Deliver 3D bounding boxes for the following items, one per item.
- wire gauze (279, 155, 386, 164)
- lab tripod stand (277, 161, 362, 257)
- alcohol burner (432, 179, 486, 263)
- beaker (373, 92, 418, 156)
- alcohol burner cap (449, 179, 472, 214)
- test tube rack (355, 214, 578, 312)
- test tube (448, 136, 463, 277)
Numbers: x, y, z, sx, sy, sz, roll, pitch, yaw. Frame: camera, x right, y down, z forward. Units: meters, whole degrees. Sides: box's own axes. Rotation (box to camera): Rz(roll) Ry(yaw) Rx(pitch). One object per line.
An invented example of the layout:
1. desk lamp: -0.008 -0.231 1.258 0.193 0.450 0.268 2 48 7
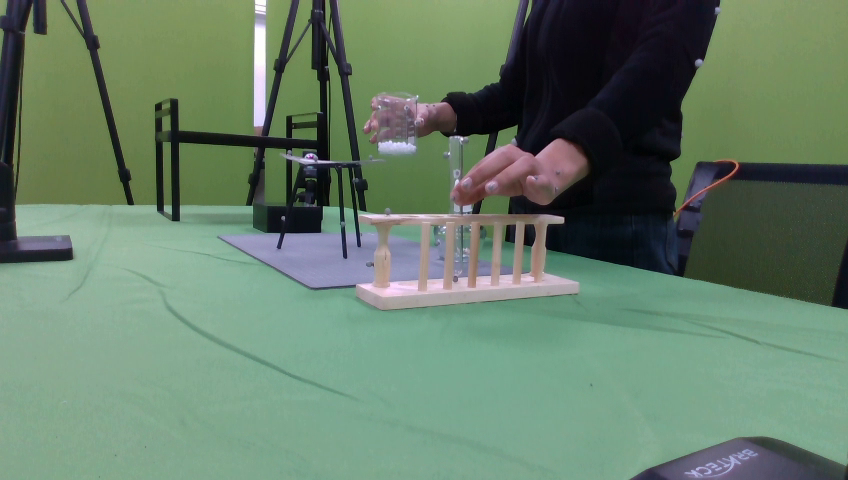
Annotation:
1. wire gauze: -0.134 -0.114 0.875 0.122 0.011 0.124 -1 8 -30
2. lab tripod stand: -0.143 -0.049 0.884 0.148 0.131 0.148 1 9 0
3. alcohol burner: 0.051 -0.028 0.862 0.078 0.119 0.078 2 6 0
4. beaker: -0.044 -0.195 1.029 0.083 0.100 0.074 2 5 35
5. alcohol burner cap: 0.052 -0.063 0.858 0.034 0.048 0.034 2 13 0
6. test tube rack: 0.053 0.018 0.641 0.243 0.085 0.066 -1 9 -29
7. test tube: 0.033 -0.036 0.644 0.017 0.150 0.017 0 0 0
